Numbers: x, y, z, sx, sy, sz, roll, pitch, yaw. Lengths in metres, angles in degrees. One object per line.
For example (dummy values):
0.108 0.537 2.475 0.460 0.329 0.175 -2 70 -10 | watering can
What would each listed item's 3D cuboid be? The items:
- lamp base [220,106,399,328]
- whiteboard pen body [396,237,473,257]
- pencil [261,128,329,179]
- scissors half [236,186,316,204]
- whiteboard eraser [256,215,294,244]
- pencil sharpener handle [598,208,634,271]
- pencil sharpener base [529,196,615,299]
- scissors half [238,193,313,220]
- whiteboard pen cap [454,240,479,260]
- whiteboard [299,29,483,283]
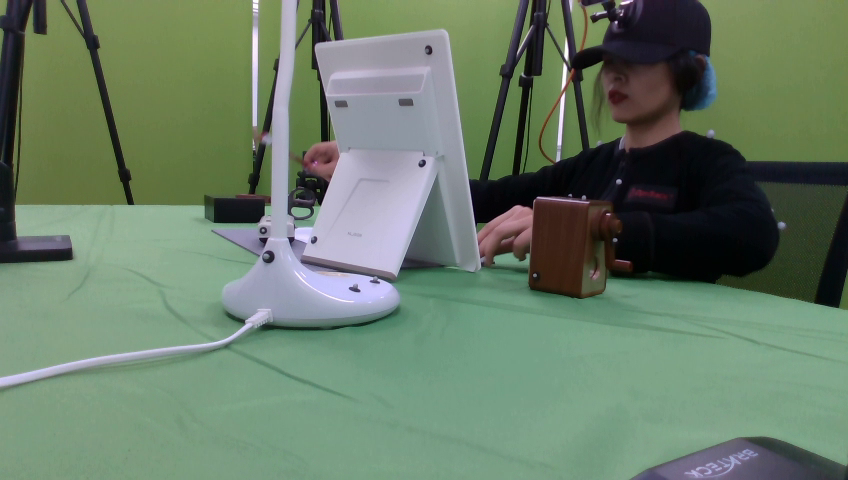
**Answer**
-0.101 -0.023 0.531 0.160 0.180 0.179 4 10 10 | lamp base
0.014 0.012 0.886 0.140 0.017 0.017 10 10 38 | whiteboard pen body
-0.236 -0.158 1.135 0.012 0.012 0.195 7 -18 33 | pencil
-0.320 -0.096 1.316 0.176 0.040 0.013 -4 14 -29 | scissors half
-0.232 -0.016 0.951 0.056 0.042 0.112 2 7 -12 | whiteboard eraser
0.208 0.000 0.645 0.030 0.068 0.036 10 23 42 | pencil sharpener handle
0.167 0.007 0.678 0.076 0.107 0.062 10 10 42 | pencil sharpener base
-0.325 -0.077 1.320 0.176 0.040 0.012 17 9 -33 | scissors half
0.060 0.015 0.854 0.033 0.018 0.018 -34 2 10 | whiteboard pen cap
-0.074 -0.082 0.742 0.216 0.305 0.144 9 30 38 | whiteboard
